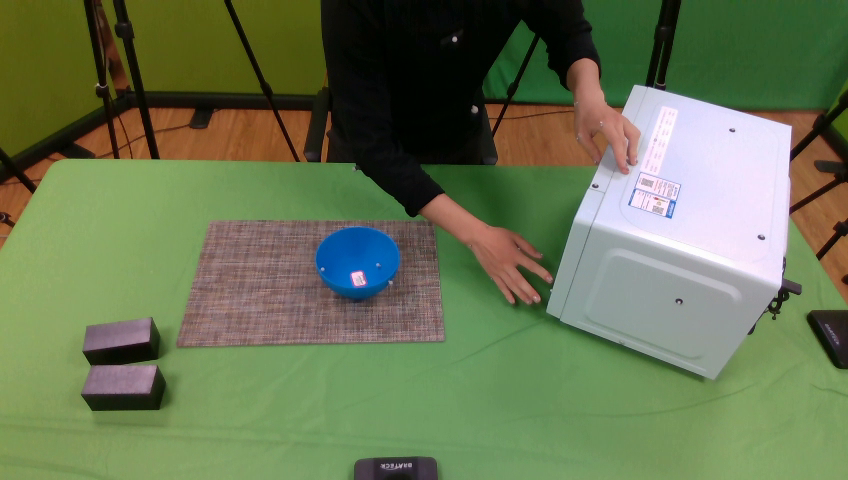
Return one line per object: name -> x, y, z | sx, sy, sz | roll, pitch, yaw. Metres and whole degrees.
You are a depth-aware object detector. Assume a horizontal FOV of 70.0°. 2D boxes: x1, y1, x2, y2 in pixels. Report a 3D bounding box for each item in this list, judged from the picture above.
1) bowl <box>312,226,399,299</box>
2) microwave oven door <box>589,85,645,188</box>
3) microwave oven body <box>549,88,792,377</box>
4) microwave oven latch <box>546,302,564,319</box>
bowl -> -0.120, 0.054, 1.091 | 0.151, 0.077, 0.150 | 2, 46, -2
microwave oven door -> 0.342, -0.107, 1.149 | 0.039, 0.245, 0.354 | 21, 48, 15
microwave oven body -> 0.456, -0.028, 1.088 | 0.325, 0.261, 0.440 | 20, 47, 16
microwave oven latch -> 0.242, 0.102, 1.081 | 0.030, 0.029, 0.079 | 22, 48, 17
